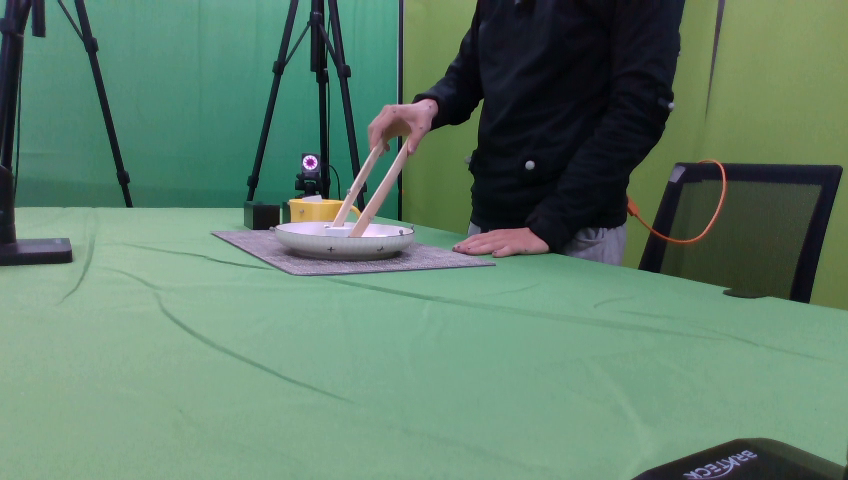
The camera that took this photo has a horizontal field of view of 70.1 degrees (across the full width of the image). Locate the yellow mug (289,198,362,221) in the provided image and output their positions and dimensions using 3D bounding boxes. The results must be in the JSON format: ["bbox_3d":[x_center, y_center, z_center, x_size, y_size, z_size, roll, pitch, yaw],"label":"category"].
[{"bbox_3d":[-0.174,-0.039,1.072,0.131,0.064,0.100,3,7,0],"label":"yellow mug"}]

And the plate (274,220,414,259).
[{"bbox_3d":[-0.118,-0.001,0.902,0.208,0.039,0.207,2,7,0],"label":"plate"}]

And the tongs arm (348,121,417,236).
[{"bbox_3d":[-0.061,-0.105,0.992,0.028,0.028,0.387,-1,34,16],"label":"tongs arm"}]

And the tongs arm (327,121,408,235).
[{"bbox_3d":[-0.084,-0.106,0.998,0.050,0.026,0.384,0,34,11],"label":"tongs arm"}]
